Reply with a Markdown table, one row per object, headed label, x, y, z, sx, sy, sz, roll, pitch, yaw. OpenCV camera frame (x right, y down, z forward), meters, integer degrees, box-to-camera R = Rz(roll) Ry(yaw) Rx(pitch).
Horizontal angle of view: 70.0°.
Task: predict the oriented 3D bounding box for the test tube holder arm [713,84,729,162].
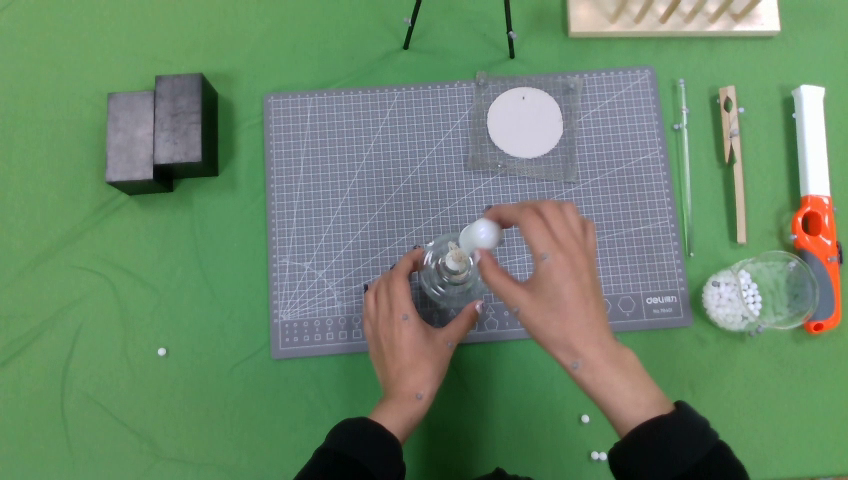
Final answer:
| label | x | y | z | sx | sy | sz | roll | pitch | yaw |
| --- | --- | --- | --- | --- | --- | --- | --- | --- | --- |
| test tube holder arm | 0.336 | -0.132 | 0.684 | 0.010 | 0.015 | 0.087 | -8 | 78 | 33 |

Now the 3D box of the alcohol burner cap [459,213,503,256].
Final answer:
| label | x | y | z | sx | sy | sz | roll | pitch | yaw |
| --- | --- | --- | --- | --- | --- | --- | --- | --- | --- |
| alcohol burner cap | 0.051 | -0.007 | 0.515 | 0.034 | 0.048 | 0.033 | 2 | 77 | -11 |

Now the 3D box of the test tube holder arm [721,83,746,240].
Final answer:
| label | x | y | z | sx | sy | sz | roll | pitch | yaw |
| --- | --- | --- | --- | --- | --- | --- | --- | --- | --- |
| test tube holder arm | 0.343 | -0.088 | 0.673 | 0.013 | 0.015 | 0.177 | -9 | 78 | 33 |

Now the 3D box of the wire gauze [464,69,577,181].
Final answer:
| label | x | y | z | sx | sy | sz | roll | pitch | yaw |
| --- | --- | --- | --- | --- | --- | --- | --- | --- | --- |
| wire gauze | 0.110 | -0.133 | 0.686 | 0.125 | 0.011 | 0.121 | 7 | 81 | 0 |

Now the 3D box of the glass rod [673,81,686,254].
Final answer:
| label | x | y | z | sx | sy | sz | roll | pitch | yaw |
| --- | --- | --- | --- | --- | --- | --- | --- | --- | --- |
| glass rod | 0.286 | -0.083 | 0.678 | 0.008 | 0.008 | 0.199 | 1 | 82 | 0 |

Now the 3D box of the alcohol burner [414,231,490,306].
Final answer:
| label | x | y | z | sx | sy | sz | roll | pitch | yaw |
| --- | --- | --- | --- | --- | --- | --- | --- | --- | --- |
| alcohol burner | 0.028 | 0.025 | 0.604 | 0.078 | 0.119 | 0.077 | 0 | 79 | 2 |

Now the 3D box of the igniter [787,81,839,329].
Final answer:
| label | x | y | z | sx | sy | sz | roll | pitch | yaw |
| --- | --- | --- | --- | --- | --- | --- | --- | --- | --- |
| igniter | 0.422 | -0.041 | 0.661 | 0.057 | 0.025 | 0.275 | 5 | 79 | -10 |

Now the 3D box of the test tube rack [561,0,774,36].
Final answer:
| label | x | y | z | sx | sy | sz | roll | pitch | yaw |
| --- | --- | --- | --- | --- | --- | --- | --- | --- | --- |
| test tube rack | 0.283 | -0.282 | 0.675 | 0.242 | 0.085 | 0.066 | -1 | 79 | 0 |

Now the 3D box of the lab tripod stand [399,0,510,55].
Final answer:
| label | x | y | z | sx | sy | sz | roll | pitch | yaw |
| --- | --- | --- | --- | --- | --- | --- | --- | --- | --- |
| lab tripod stand | 0.037 | -0.266 | 0.649 | 0.148 | 0.132 | 0.148 | 0 | 81 | 0 |

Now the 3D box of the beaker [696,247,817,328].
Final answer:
| label | x | y | z | sx | sy | sz | roll | pitch | yaw |
| --- | --- | --- | --- | --- | --- | --- | --- | --- | --- |
| beaker | 0.324 | 0.050 | 0.609 | 0.084 | 0.100 | 0.074 | 27 | 80 | 6 |
